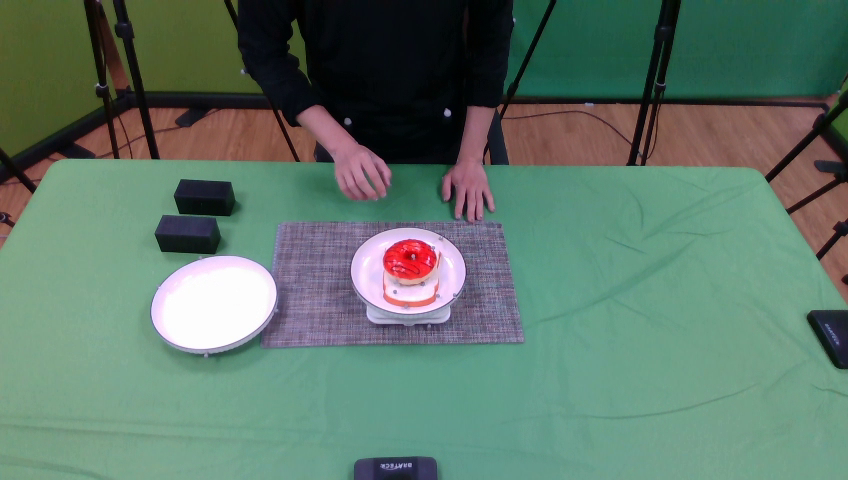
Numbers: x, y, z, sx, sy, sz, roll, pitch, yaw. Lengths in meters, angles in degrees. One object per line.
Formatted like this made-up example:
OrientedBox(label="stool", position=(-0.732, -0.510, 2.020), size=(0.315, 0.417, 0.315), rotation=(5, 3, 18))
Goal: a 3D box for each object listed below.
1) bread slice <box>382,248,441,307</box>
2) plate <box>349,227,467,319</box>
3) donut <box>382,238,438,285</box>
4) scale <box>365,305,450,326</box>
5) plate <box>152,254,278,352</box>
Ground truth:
OrientedBox(label="bread slice", position=(-0.023, 0.064, 1.077), size=(0.105, 0.019, 0.130), rotation=(2, 46, 0))
OrientedBox(label="plate", position=(-0.029, 0.061, 1.077), size=(0.209, 0.038, 0.208), rotation=(2, 46, -2))
OrientedBox(label="donut", position=(-0.025, 0.036, 1.064), size=(0.099, 0.048, 0.098), rotation=(0, 44, 0))
OrientedBox(label="scale", position=(-0.032, 0.071, 1.113), size=(0.149, 0.032, 0.199), rotation=(0, 46, -4))
OrientedBox(label="plate", position=(-0.357, 0.111, 1.052), size=(0.208, 0.039, 0.206), rotation=(2, 46, -2))
